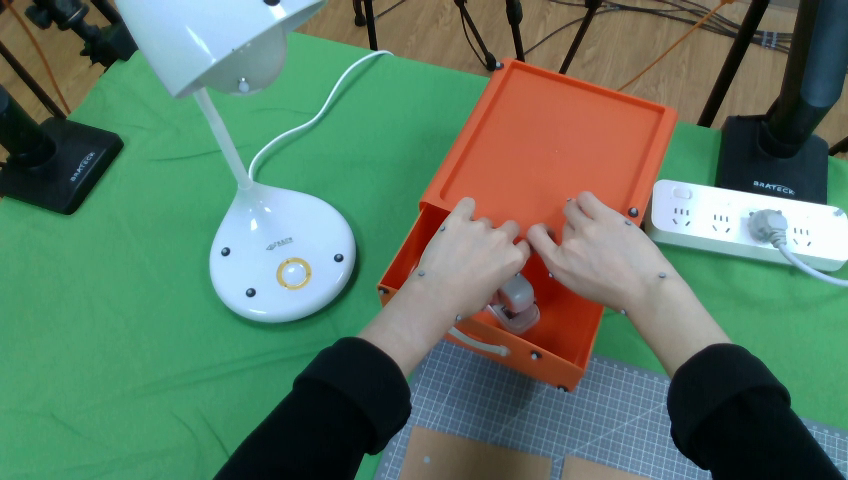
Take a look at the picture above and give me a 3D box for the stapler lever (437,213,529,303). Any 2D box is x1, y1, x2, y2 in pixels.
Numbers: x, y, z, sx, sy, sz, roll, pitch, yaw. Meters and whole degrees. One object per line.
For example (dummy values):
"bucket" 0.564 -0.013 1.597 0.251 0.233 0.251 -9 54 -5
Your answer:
"stapler lever" 0.054 0.014 0.576 0.027 0.040 0.117 -35 60 -12

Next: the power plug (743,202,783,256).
"power plug" 0.353 -0.009 0.638 0.035 0.053 0.072 20 64 13

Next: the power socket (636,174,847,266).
"power socket" 0.351 -0.024 0.673 0.226 0.033 0.071 11 62 7

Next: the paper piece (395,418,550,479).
"paper piece" 0.036 0.242 0.547 0.135 0.009 0.137 11 63 11

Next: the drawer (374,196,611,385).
"drawer" 0.086 0.005 0.589 0.193 0.074 0.211 21 63 14

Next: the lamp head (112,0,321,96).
"lamp head" -0.136 -0.161 0.348 0.112 0.112 0.123 -41 105 -19

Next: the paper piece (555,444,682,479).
"paper piece" 0.174 0.264 0.530 0.135 0.004 0.135 14 62 10

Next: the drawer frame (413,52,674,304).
"drawer frame" 0.124 -0.072 0.627 0.201 0.083 0.212 21 63 13

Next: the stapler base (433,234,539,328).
"stapler base" 0.060 0.028 0.599 0.041 0.024 0.129 -35 62 -12

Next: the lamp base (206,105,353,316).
"lamp base" -0.170 -0.037 0.612 0.160 0.182 0.177 -33 62 -16
